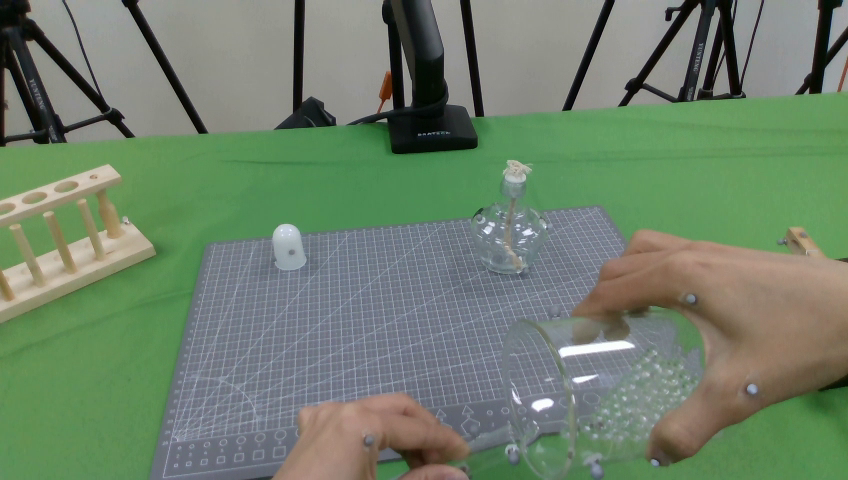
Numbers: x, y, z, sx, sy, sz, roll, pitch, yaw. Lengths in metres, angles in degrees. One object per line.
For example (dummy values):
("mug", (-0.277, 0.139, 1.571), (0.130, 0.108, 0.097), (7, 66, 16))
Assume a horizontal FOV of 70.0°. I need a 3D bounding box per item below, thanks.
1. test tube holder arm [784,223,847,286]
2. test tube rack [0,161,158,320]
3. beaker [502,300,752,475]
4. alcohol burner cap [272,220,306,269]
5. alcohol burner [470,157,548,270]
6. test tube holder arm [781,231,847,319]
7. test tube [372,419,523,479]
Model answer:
("test tube holder arm", (0.343, 0.013, 0.530), (0.015, 0.010, 0.087), (0, 37, 1))
("test tube rack", (-0.396, 0.014, 0.577), (0.242, 0.086, 0.066), (-29, 46, -32))
("beaker", (0.098, 0.070, 0.299), (0.100, 0.084, 0.073), (-5, 50, -14))
("alcohol burner cap", (-0.140, 0.002, 0.619), (0.034, 0.048, 0.033), (-1, 37, 1))
("alcohol burner", (0.085, -0.029, 0.597), (0.078, 0.120, 0.077), (1, 37, 0))
("test tube holder arm", (0.342, 0.045, 0.498), (0.015, 0.013, 0.176), (0, 37, 1))
("test tube", (-0.014, 0.134, 0.333), (0.150, 0.017, 0.017), (-29, 35, 15))
